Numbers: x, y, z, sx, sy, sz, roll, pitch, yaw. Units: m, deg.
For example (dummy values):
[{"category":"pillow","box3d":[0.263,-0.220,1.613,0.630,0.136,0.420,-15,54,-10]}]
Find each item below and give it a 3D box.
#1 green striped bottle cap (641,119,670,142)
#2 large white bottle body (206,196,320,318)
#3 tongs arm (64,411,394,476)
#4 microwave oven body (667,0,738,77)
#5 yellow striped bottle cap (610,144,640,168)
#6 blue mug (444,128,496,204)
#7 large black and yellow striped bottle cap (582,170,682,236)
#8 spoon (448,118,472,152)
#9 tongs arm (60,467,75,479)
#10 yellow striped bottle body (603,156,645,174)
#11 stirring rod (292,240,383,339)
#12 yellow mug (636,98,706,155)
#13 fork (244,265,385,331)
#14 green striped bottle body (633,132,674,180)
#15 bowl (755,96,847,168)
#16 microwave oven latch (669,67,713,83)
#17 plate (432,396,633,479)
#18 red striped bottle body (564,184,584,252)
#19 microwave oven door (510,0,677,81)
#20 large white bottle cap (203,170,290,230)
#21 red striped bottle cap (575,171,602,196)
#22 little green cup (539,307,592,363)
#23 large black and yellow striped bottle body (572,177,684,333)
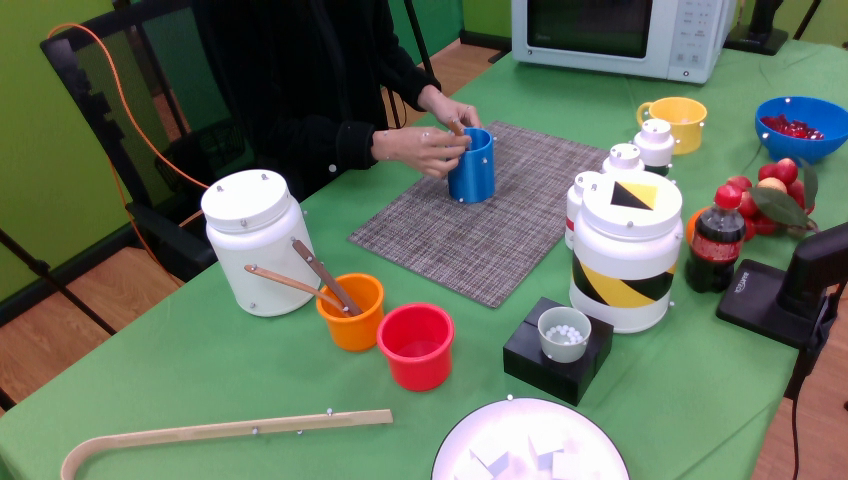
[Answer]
[{"category":"green striped bottle cap","box3d":[0.371,-0.175,0.968,0.044,0.020,0.044,-6,42,6]},{"category":"large white bottle body","box3d":[-0.233,0.008,0.877,0.130,0.185,0.130,-4,40,4]},{"category":"tongs arm","box3d":[-0.228,0.241,0.715,0.385,0.026,0.050,-5,44,4]},{"category":"microwave oven body","box3d":[0.462,-0.552,1.369,0.439,0.261,0.326,15,45,26]},{"category":"yellow striped bottle cap","box3d":[0.307,-0.128,0.923,0.044,0.019,0.044,-5,39,5]},{"category":"blue mug","box3d":[0.081,-0.139,1.059,0.082,0.106,0.116,-4,40,5]},{"category":"large black and yellow striped bottle cap","box3d":[0.252,-0.048,0.735,0.115,0.019,0.114,-3,40,3]},{"category":"spoon","box3d":[0.069,-0.152,0.999,0.041,0.195,0.021,2,69,20]},{"category":"tongs arm","box3d":[-0.239,0.301,0.649,0.386,0.028,0.028,6,49,16]},{"category":"yellow striped bottle body","box3d":[0.313,-0.089,0.956,0.063,0.121,0.062,-4,40,4]},{"category":"stirring rod","box3d":[-0.118,0.068,0.826,0.176,0.006,0.014,49,59,-4]},{"category":"yellow mug","box3d":[0.453,-0.217,1.128,0.100,0.064,0.129,-34,46,-27]},{"category":"fork","box3d":[-0.142,0.078,0.806,0.209,0.018,0.028,30,32,-23]},{"category":"green striped bottle body","box3d":[0.376,-0.135,1.001,0.063,0.120,0.063,-5,40,5]},{"category":"bowl","box3d":[0.645,-0.177,1.041,0.151,0.077,0.150,-5,40,4]},{"category":"microwave oven latch","box3d":[0.556,-0.348,1.261,0.078,0.029,0.030,16,46,27]},{"category":"plate","box3d":[0.112,0.261,0.634,0.209,0.038,0.208,-5,40,4]},{"category":"red striped bottle body","box3d":[0.247,-0.041,0.910,0.063,0.120,0.062,-3,39,3]},{"category":"microwave oven door","box3d":[0.354,-0.478,1.290,0.353,0.245,0.039,15,45,25]},{"category":"large white bottle cap","box3d":[-0.241,-0.057,0.822,0.115,0.018,0.114,-4,40,4]},{"category":"red striped bottle cap","box3d":[0.242,-0.081,0.876,0.044,0.018,0.044,-5,44,5]},{"category":"little green cup","box3d":[0.167,0.114,0.721,0.061,0.039,0.061,-4,43,4]},{"category":"large black and yellow striped bottle body","box3d":[0.262,0.017,0.788,0.131,0.185,0.130,-5,40,4]}]
